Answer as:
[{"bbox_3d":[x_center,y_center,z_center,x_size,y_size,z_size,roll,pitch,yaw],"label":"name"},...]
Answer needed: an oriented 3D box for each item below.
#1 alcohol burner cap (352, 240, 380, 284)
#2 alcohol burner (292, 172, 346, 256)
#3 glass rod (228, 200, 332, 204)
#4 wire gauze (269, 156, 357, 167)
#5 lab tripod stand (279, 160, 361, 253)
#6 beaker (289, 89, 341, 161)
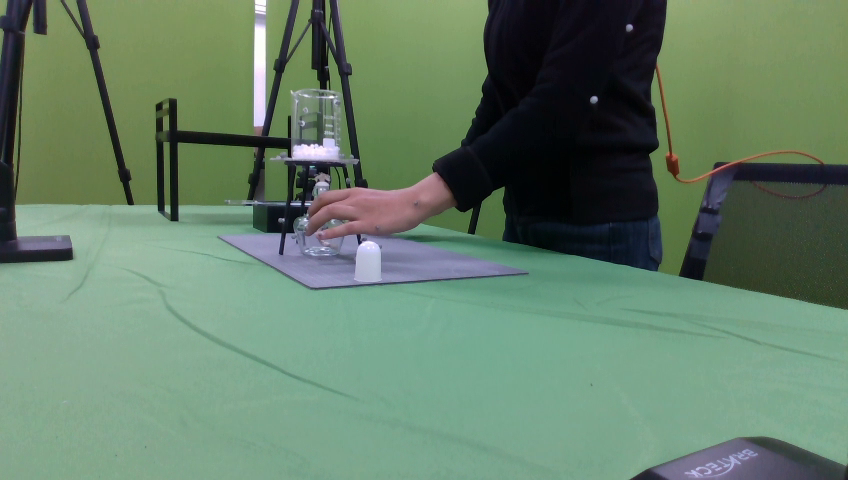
[{"bbox_3d":[-0.066,0.023,0.690,0.034,0.048,0.034,3,10,0],"label":"alcohol burner cap"},{"bbox_3d":[-0.150,-0.038,0.865,0.078,0.119,0.078,1,5,0],"label":"alcohol burner"},{"bbox_3d":[-0.270,-0.072,1.149,0.201,0.008,0.008,-1,8,-30],"label":"glass rod"},{"bbox_3d":[-0.159,-0.116,0.886,0.122,0.011,0.125,2,4,-9],"label":"wire gauze"},{"bbox_3d":[-0.166,-0.053,0.897,0.148,0.131,0.148,0,8,0],"label":"lab tripod stand"},{"bbox_3d":[-0.161,-0.164,0.879,0.073,0.100,0.084,6,8,34],"label":"beaker"}]
